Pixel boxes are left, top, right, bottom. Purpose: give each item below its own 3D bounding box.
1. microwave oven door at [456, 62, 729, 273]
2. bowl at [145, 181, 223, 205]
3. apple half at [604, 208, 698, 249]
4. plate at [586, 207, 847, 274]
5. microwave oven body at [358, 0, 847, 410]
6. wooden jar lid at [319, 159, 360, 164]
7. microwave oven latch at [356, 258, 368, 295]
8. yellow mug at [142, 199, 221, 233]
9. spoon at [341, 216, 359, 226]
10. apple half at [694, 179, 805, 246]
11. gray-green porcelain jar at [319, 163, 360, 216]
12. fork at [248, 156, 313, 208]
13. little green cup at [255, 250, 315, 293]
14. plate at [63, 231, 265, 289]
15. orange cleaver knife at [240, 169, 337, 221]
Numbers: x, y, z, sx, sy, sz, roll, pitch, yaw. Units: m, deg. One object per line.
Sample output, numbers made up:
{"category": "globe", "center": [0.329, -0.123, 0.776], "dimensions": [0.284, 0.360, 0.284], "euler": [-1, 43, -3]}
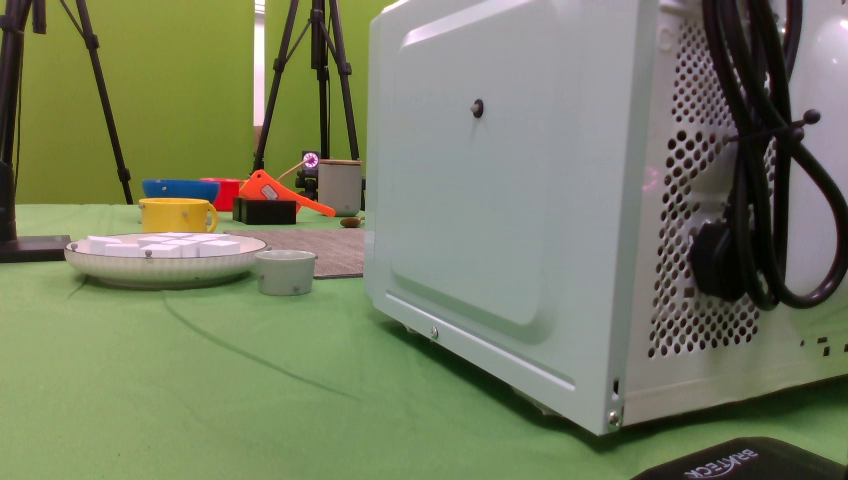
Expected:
{"category": "microwave oven door", "center": [0.199, -0.098, 0.799], "dimensions": [0.354, 0.243, 0.039], "euler": [7, 10, 37]}
{"category": "bowl", "center": [-0.499, -0.081, 1.261], "dimensions": [0.151, 0.077, 0.151], "euler": [2, 8, 0]}
{"category": "apple half", "center": [0.207, -0.013, 0.543], "dimensions": [0.081, 0.033, 0.081], "euler": [4, 10, 0]}
{"category": "plate", "center": [0.245, -0.002, 0.516], "dimensions": [0.209, 0.038, 0.209], "euler": [1, 7, 0]}
{"category": "microwave oven body", "center": [0.210, -0.051, 0.472], "dimensions": [0.444, 0.260, 0.324], "euler": [-1, 7, -28]}
{"category": "wooden jar lid", "center": [-0.203, -0.189, 1.482], "dimensions": [0.108, 0.020, 0.108], "euler": [2, 10, 0]}
{"category": "microwave oven latch", "center": [-0.019, 0.031, 0.529], "dimensions": [0.079, 0.029, 0.030], "euler": [-1, 7, -26]}
{"category": "yellow mug", "center": [-0.372, -0.030, 0.947], "dimensions": [0.099, 0.064, 0.131], "euler": [5, 7, 30]}
{"category": "spoon", "center": [-0.132, -0.048, 1.305], "dimensions": [0.041, 0.021, 0.194], "euler": [-14, 4, 14]}
{"category": "apple half", "center": [0.279, -0.024, 0.515], "dimensions": [0.075, 0.053, 0.080], "euler": [9, -7, -19]}
{"category": "gray-green porcelain jar", "center": [-0.205, -0.126, 1.490], "dimensions": [0.106, 0.126, 0.106], "euler": [1, 8, 0]}
{"category": "fork", "center": [-0.360, -0.147, 1.523], "dimensions": [0.207, 0.019, 0.028], "euler": [-43, 18, -6]}
{"category": "little green cup", "center": [-0.144, 0.032, 0.627], "dimensions": [0.061, 0.038, 0.061], "euler": [2, 5, 0]}
{"category": "plate", "center": [-0.288, 0.021, 0.687], "dimensions": [0.208, 0.039, 0.207], "euler": [2, 8, 0]}
{"category": "orange cleaver knife", "center": [-0.287, -0.081, 1.299], "dimensions": [0.212, 0.077, 0.012], "euler": [25, -2, -31]}
